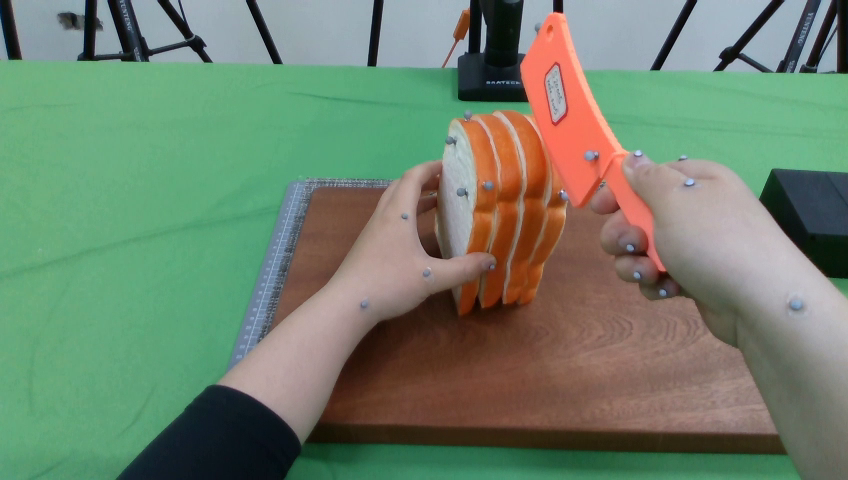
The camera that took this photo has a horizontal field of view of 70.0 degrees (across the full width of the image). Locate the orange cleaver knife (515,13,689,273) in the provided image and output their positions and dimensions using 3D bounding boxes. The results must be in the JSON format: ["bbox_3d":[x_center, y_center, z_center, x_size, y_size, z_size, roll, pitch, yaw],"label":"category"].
[{"bbox_3d":[0.098,-0.057,0.375,0.012,0.078,0.209,-5,55,-17],"label":"orange cleaver knife"}]

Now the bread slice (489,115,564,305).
[{"bbox_3d":[0.079,-0.029,0.479,0.019,0.132,0.103,-2,43,-14],"label":"bread slice"}]

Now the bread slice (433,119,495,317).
[{"bbox_3d":[0.029,-0.025,0.474,0.018,0.135,0.106,-4,38,-11],"label":"bread slice"}]
